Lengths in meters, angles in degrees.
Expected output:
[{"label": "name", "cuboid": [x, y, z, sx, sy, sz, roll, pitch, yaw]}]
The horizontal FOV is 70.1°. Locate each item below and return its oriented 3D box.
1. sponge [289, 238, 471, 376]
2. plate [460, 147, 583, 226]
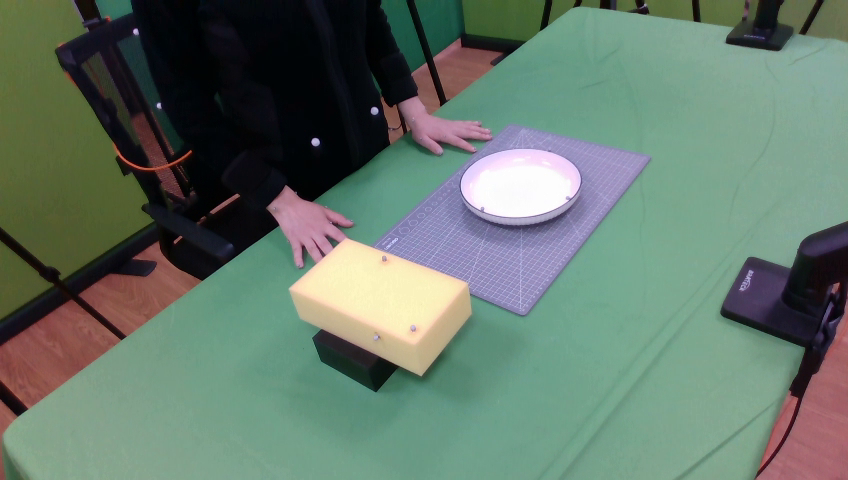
[{"label": "sponge", "cuboid": [-0.057, 0.081, 0.794, 0.205, 0.061, 0.118, 19, 48, 29]}, {"label": "plate", "cuboid": [0.166, -0.089, 1.043, 0.209, 0.038, 0.208, -5, 40, 5]}]
